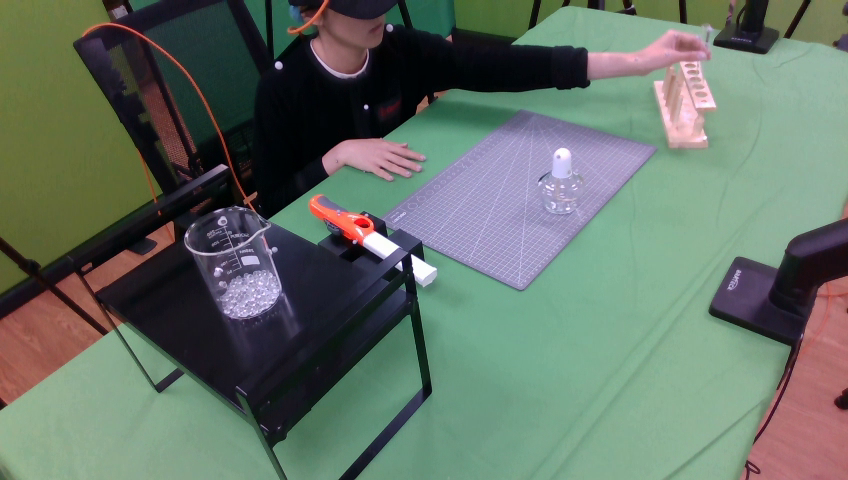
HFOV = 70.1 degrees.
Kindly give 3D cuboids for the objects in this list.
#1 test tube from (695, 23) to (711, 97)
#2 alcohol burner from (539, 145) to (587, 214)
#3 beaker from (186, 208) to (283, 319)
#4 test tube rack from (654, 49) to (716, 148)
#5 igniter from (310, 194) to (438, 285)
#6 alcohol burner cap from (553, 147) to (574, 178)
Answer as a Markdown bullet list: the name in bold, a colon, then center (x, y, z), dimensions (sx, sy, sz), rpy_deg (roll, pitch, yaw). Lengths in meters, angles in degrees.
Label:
- **test tube**: center (0.501, -0.316, 1.090), dimensions (0.017, 0.151, 0.017), rpy_deg (-8, 38, 7)
- **alcohol burner**: center (0.226, -0.102, 0.986), dimensions (0.078, 0.119, 0.077), rpy_deg (-6, 41, 6)
- **beaker**: center (-0.192, 0.026, 0.637), dimensions (0.084, 0.101, 0.073), rpy_deg (-13, 41, -7)
- **test tube rack**: center (0.502, -0.281, 1.176), dimensions (0.066, 0.085, 0.241), rpy_deg (2, 41, 11)
- **igniter**: center (-0.086, -0.007, 0.921), dimensions (0.274, 0.025, 0.057), rpy_deg (31, 51, 34)
- **alcohol burner cap**: center (0.224, -0.125, 0.965), dimensions (0.034, 0.048, 0.033), rpy_deg (-5, 44, 5)
